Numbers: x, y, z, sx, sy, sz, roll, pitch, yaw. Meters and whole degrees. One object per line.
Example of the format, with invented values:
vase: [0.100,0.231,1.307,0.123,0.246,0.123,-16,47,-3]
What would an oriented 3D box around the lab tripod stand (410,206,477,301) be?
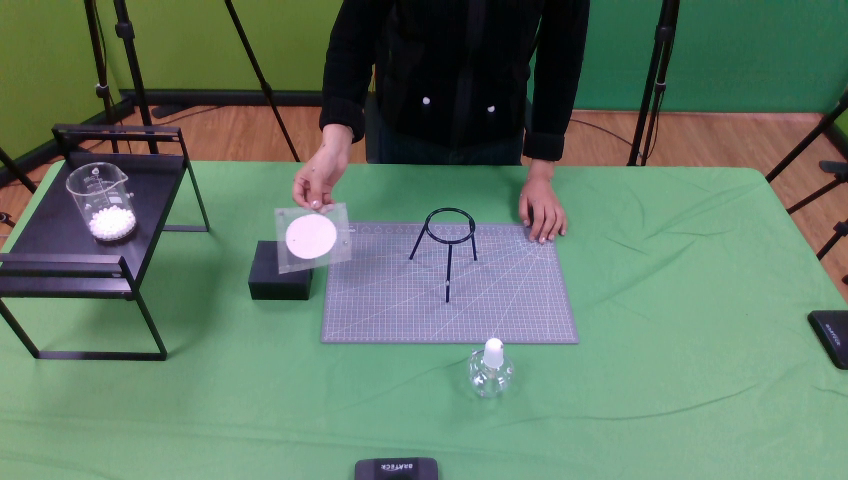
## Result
lab tripod stand: [0.039,0.015,1.101,0.148,0.132,0.147,1,47,-1]

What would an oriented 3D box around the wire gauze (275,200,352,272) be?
wire gauze: [-0.185,-0.011,1.014,0.121,0.011,0.124,-8,62,-6]

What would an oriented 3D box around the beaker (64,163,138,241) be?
beaker: [-0.478,-0.055,0.910,0.084,0.101,0.073,-9,48,-13]

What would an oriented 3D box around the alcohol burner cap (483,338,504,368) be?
alcohol burner cap: [0.108,0.170,0.928,0.034,0.048,0.033,-1,41,1]

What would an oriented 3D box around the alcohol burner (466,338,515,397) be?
alcohol burner: [0.106,0.195,0.952,0.078,0.120,0.077,1,46,0]
